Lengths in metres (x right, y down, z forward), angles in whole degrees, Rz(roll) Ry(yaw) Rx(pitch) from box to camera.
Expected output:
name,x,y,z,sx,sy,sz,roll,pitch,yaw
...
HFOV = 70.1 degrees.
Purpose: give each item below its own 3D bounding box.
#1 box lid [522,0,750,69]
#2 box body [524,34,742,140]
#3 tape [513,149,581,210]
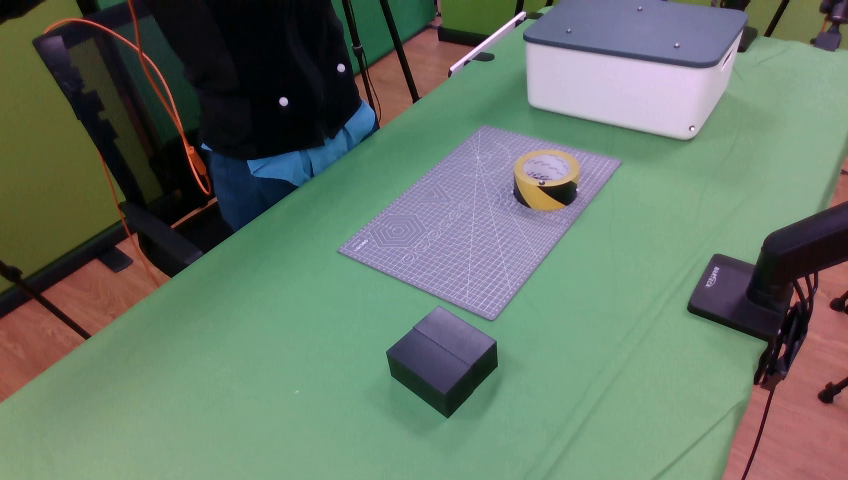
name,x,y,z,sx,sy,sz,roll,pitch,yaw
box lid,0.405,-0.409,1.162,0.369,0.015,0.264,20,47,29
box body,0.412,-0.354,1.212,0.361,0.161,0.254,20,48,29
tape,0.208,-0.104,1.032,0.117,0.053,0.116,-4,40,4
